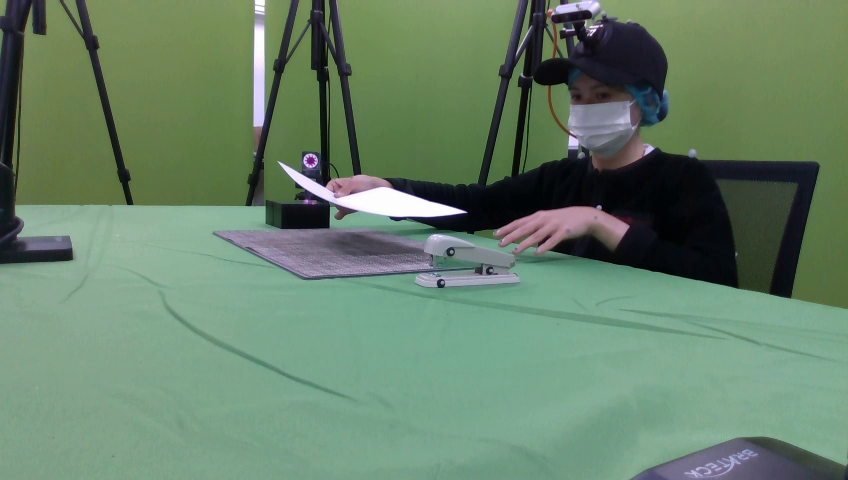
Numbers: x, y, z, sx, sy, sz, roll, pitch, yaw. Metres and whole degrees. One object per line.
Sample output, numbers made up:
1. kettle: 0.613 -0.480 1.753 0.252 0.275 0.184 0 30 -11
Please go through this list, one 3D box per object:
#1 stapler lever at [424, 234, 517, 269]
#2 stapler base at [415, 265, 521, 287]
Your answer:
1. stapler lever: 0.056 0.014 0.714 0.119 0.040 0.026 1 9 -27
2. stapler base: 0.053 0.039 0.716 0.131 0.024 0.041 1 9 -27
